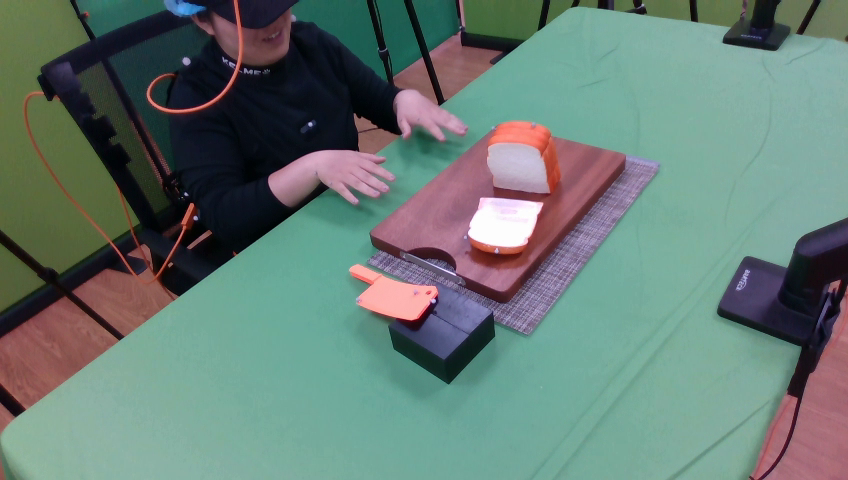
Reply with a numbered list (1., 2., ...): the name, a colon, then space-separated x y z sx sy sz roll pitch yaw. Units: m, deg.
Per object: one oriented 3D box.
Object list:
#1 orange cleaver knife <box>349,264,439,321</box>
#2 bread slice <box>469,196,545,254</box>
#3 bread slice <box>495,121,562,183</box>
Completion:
1. orange cleaver knife: -0.061 0.073 0.877 0.077 0.012 0.209 -39 32 -27
2. bread slice: 0.124 -0.024 0.943 0.104 0.019 0.131 8 39 18
3. bread slice: 0.170 -0.143 0.997 0.106 0.135 0.018 10 60 21
